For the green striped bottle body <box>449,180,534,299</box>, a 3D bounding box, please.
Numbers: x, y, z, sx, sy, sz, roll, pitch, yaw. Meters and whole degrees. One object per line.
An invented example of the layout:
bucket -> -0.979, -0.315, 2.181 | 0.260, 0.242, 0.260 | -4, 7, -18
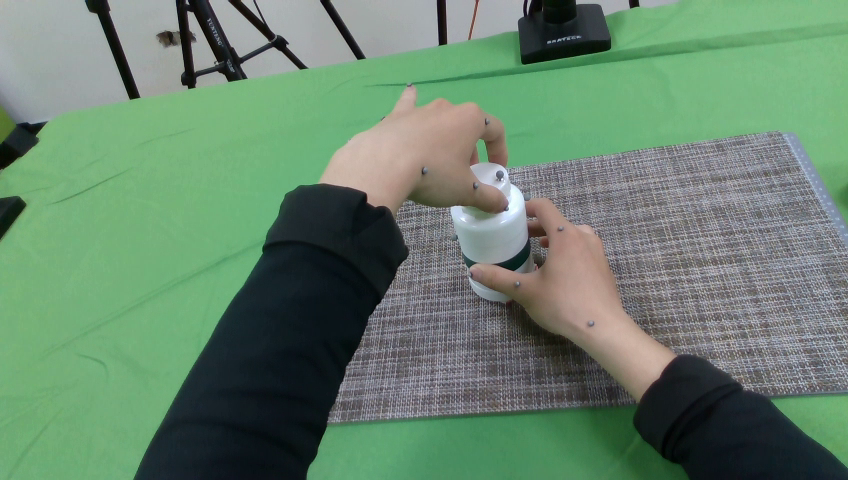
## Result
green striped bottle body -> 0.059, -0.007, 0.530 | 0.063, 0.120, 0.062 | -9, 45, 10

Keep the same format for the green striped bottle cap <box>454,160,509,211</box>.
green striped bottle cap -> 0.046, -0.045, 0.492 | 0.044, 0.020, 0.044 | -9, 45, 9
